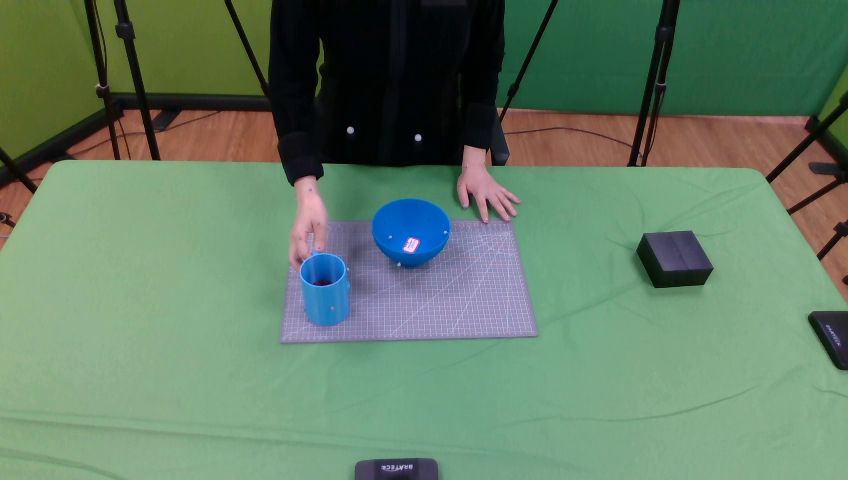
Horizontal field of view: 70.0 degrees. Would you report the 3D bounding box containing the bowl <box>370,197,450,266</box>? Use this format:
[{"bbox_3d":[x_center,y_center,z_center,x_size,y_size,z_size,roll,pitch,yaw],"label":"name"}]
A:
[{"bbox_3d":[-0.028,-0.003,1.156,0.151,0.077,0.150,2,46,-2],"label":"bowl"}]

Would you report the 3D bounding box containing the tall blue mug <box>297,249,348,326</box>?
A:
[{"bbox_3d":[-0.183,0.077,1.044,0.106,0.108,0.078,35,55,26],"label":"tall blue mug"}]
